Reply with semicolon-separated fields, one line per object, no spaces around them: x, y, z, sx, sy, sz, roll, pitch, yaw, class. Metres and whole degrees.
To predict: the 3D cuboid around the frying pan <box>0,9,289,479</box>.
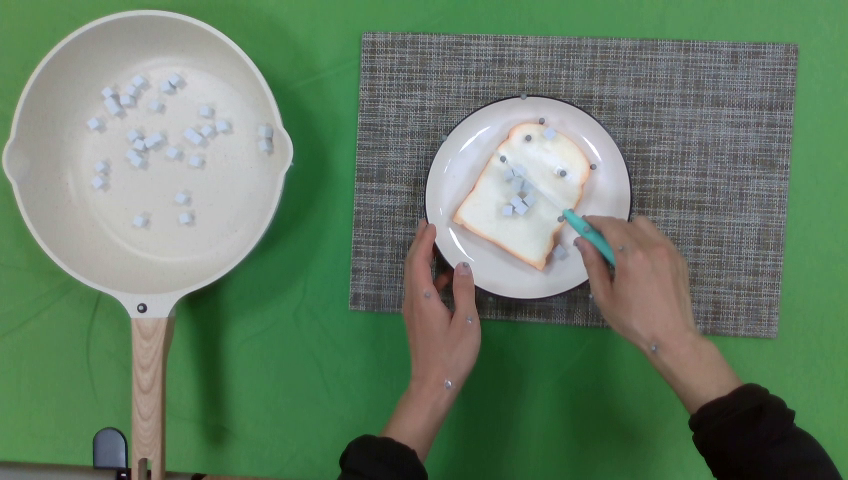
-0.283;0.016;0.628;0.306;0.103;0.486;-1;84;6;frying pan

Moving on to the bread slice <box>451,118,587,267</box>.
0.102;-0.055;0.626;0.107;0.018;0.134;26;96;2;bread slice

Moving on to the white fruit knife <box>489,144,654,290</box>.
0.138;-0.025;0.581;0.206;0.027;0.016;43;93;13;white fruit knife

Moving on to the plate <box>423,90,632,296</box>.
0.104;-0.047;0.624;0.207;0.039;0.207;0;92;5;plate
